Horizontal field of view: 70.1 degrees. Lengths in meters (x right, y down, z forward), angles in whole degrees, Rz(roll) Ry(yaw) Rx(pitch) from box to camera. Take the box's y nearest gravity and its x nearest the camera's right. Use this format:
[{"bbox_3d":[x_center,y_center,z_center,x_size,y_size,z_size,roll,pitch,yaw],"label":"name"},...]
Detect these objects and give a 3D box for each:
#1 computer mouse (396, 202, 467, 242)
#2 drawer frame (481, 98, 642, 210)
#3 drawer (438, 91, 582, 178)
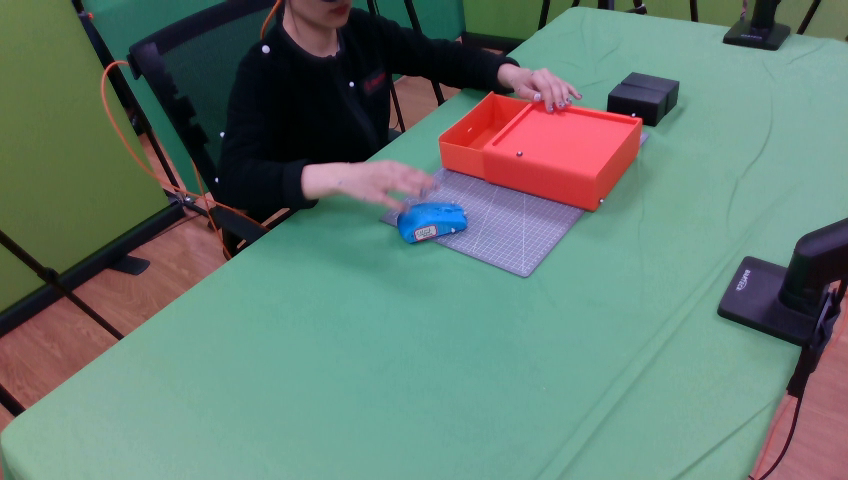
[{"bbox_3d":[0.012,-0.035,1.005,0.117,0.041,0.062,-11,38,-8],"label":"computer mouse"},{"bbox_3d":[0.244,-0.160,1.073,0.212,0.083,0.202,20,47,29],"label":"drawer frame"},{"bbox_3d":[0.166,-0.188,1.123,0.210,0.073,0.195,21,47,31],"label":"drawer"}]
